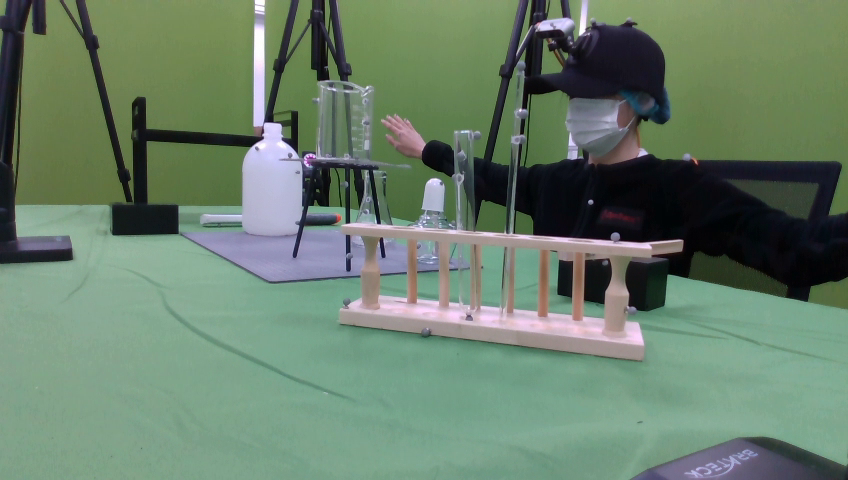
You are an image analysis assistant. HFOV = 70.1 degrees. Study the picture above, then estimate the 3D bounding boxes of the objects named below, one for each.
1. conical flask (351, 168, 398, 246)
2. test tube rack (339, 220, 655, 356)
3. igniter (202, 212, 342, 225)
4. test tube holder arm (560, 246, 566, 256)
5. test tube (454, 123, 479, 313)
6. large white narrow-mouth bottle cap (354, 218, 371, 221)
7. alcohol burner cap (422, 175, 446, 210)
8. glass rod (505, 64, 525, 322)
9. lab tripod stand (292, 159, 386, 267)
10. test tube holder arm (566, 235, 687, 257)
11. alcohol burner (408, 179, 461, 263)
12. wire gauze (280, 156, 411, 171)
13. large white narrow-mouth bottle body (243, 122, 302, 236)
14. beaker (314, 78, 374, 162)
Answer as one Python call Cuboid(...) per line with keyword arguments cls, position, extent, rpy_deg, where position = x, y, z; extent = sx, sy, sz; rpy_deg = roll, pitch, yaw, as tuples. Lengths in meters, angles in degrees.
Cuboid(cls="conical flask", position=(-0.078, -0.053, 0.962), extent=(0.075, 0.122, 0.075), rpy_deg=(2, 7, 0))
Cuboid(cls="test tube rack", position=(0.056, 0.032, 0.495), extent=(0.242, 0.085, 0.067), rpy_deg=(4, 7, 15))
Cuboid(cls="igniter", position=(-0.298, -0.044, 1.216), extent=(0.278, 0.025, 0.057), rpy_deg=(-3, -2, -32))
Cuboid(cls="test tube holder arm", position=(0.173, 0.007, 0.611), extent=(0.088, 0.015, 0.010), rpy_deg=(-3, 9, -30))
Cuboid(cls="test tube", position=(0.034, -0.016, 0.477), extent=(0.017, 0.150, 0.017), rpy_deg=(-2, 9, 1))
Cuboid(cls="large white narrow-mouth bottle cap", position=(-0.120, -0.029, 1.184), extent=(0.038, 0.024, 0.037), rpy_deg=(2, 8, 0))
Cuboid(cls="alcohol burner cap", position=(0.016, -0.065, 0.830), extent=(0.034, 0.048, 0.034), rpy_deg=(7, 4, 0))
Cuboid(cls="glass rod", position=(0.069, -0.030, 0.458), extent=(0.008, 0.199, 0.008), rpy_deg=(0, 15, 0))
Cuboid(cls="lab tripod stand", position=(-0.105, -0.039, 0.797), extent=(0.148, 0.131, 0.148), rpy_deg=(2, 5, 0))
Cuboid(cls="test tube holder arm", position=(0.215, 0.006, 0.630), extent=(0.179, 0.015, 0.013), rpy_deg=(-3, 9, -30))
Cuboid(cls="alcohol burner", position=(0.014, -0.029, 0.834), extent=(0.078, 0.119, 0.078), rpy_deg=(0, 6, 0))
Cuboid(cls="wire gauze", position=(-0.103, -0.103, 0.785), extent=(0.121, 0.011, 0.126), rpy_deg=(11, 8, 42))
Cuboid(cls="large white narrow-mouth bottle body", position=(-0.264, -0.109, 1.061), extent=(0.102, 0.194, 0.102), rpy_deg=(2, 8, 0))
Cuboid(cls="beaker", position=(-0.101, -0.151, 0.775), extent=(0.074, 0.100, 0.083), rpy_deg=(-2, 8, -39))
